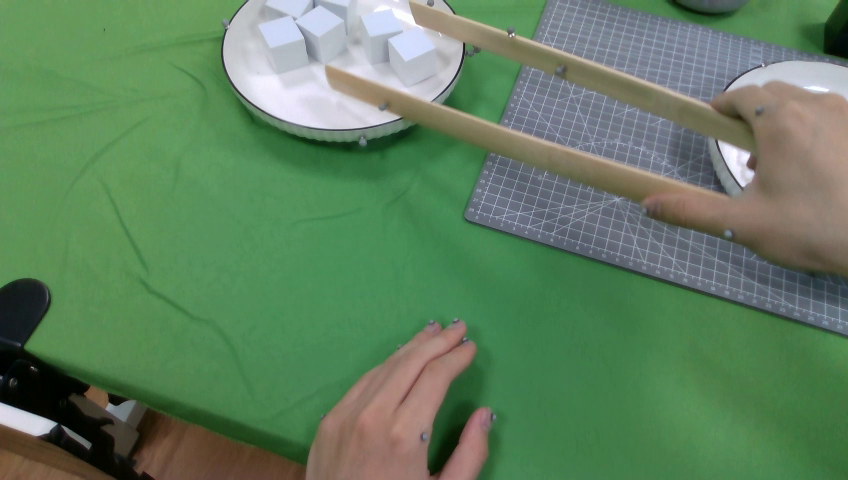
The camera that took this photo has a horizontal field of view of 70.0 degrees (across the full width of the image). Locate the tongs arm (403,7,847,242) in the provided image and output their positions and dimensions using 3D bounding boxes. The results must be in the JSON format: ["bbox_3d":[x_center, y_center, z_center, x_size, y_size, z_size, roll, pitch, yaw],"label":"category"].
[{"bbox_3d":[0.107,-0.103,0.436,0.381,0.027,0.050,31,59,32],"label":"tongs arm"}]

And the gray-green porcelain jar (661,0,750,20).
[{"bbox_3d":[0.285,-0.289,0.581,0.106,0.127,0.105,1,57,-1],"label":"gray-green porcelain jar"}]

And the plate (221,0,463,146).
[{"bbox_3d":[-0.070,-0.159,0.538,0.208,0.039,0.205,1,58,-2],"label":"plate"}]

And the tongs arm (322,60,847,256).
[{"bbox_3d":[0.070,-0.069,0.413,0.384,0.028,0.028,25,53,29],"label":"tongs arm"}]

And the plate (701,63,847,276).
[{"bbox_3d":[0.325,-0.056,0.486,0.209,0.038,0.207,1,58,-1],"label":"plate"}]
